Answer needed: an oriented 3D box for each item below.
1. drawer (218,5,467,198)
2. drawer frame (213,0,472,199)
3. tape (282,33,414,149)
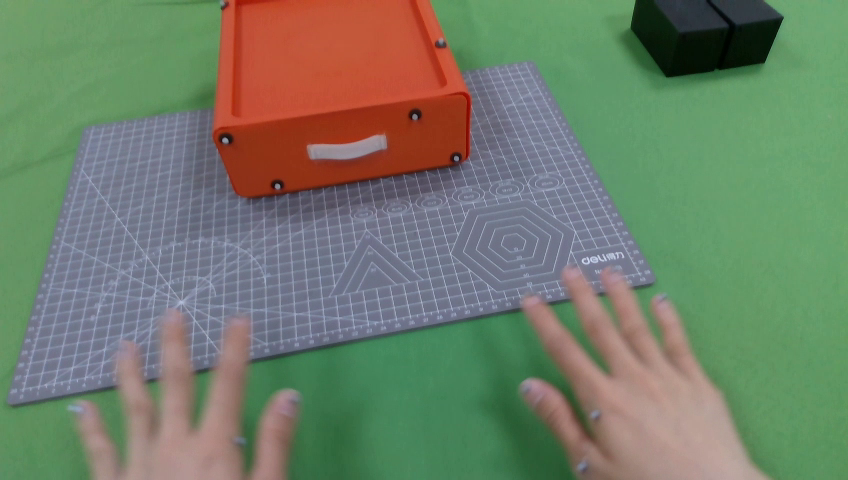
[{"bbox_3d":[-0.078,-0.144,0.554,0.195,0.074,0.209,-10,48,-5],"label":"drawer"},{"bbox_3d":[-0.078,-0.146,0.554,0.202,0.083,0.211,-11,48,-6],"label":"drawer frame"},{"bbox_3d":[-0.070,-0.139,0.557,0.117,0.053,0.115,-2,49,2],"label":"tape"}]
